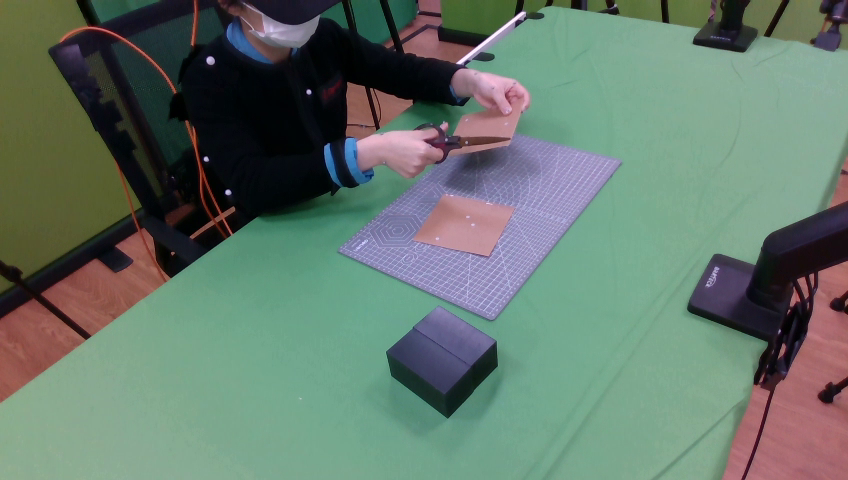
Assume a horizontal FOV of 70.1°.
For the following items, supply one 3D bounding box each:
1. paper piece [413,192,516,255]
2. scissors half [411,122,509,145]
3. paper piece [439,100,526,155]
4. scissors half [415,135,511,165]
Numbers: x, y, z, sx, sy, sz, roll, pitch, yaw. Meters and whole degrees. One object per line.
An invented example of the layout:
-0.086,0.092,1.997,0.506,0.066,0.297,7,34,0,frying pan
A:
0.068,-0.030,1.000,0.134,0.004,0.136,13,44,22,paper piece
0.059,-0.174,1.009,0.174,0.040,0.013,7,36,20,scissors half
0.108,-0.203,1.096,0.135,0.009,0.138,-3,43,30,paper piece
0.063,-0.156,1.017,0.174,0.040,0.013,-9,23,29,scissors half
